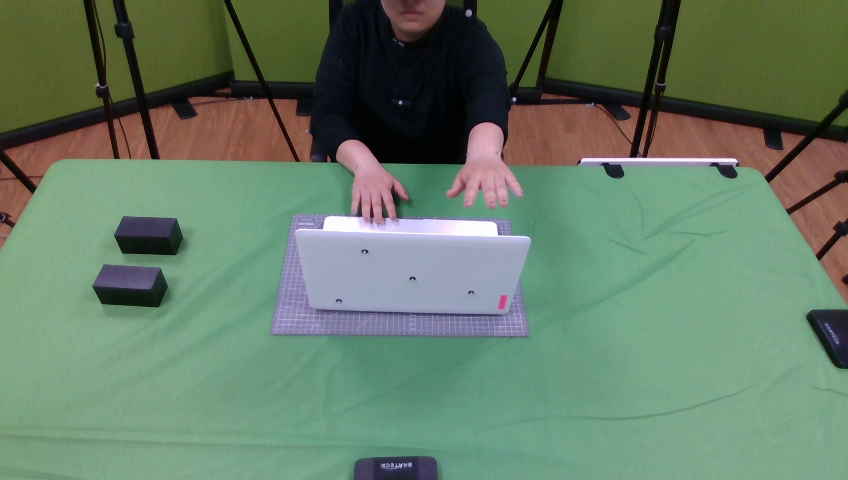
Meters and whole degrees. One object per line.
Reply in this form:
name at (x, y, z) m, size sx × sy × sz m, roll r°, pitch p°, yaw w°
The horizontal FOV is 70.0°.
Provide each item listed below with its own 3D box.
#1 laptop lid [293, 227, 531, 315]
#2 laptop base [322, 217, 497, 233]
laptop lid at (-0.021, 0.058, 0.975) m, size 0.357 × 0.243 × 0.013 m, roll 3°, pitch 53°, yaw -4°
laptop base at (-0.028, 0.045, 1.154) m, size 0.354 × 0.023 × 0.234 m, roll 2°, pitch 43°, yaw -3°
